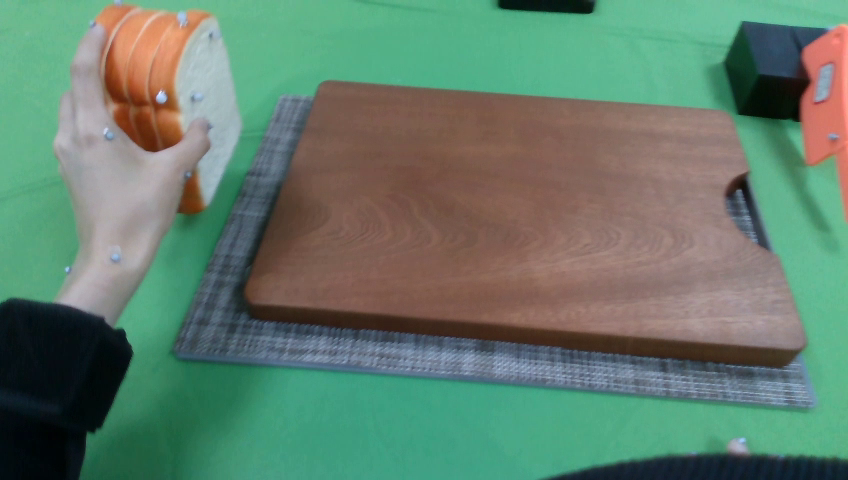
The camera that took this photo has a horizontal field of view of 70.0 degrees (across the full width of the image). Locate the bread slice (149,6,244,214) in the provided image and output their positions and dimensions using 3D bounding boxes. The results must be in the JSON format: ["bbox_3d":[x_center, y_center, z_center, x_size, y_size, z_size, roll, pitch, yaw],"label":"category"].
[{"bbox_3d":[-0.162,-0.097,0.443,0.019,0.132,0.104,8,51,1],"label":"bread slice"}]

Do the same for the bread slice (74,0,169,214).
[{"bbox_3d":[-0.212,-0.103,0.446,0.018,0.135,0.106,4,46,-1],"label":"bread slice"}]

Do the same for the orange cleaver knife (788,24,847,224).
[{"bbox_3d":[0.363,-0.104,0.558,0.012,0.077,0.210,7,68,0],"label":"orange cleaver knife"}]
